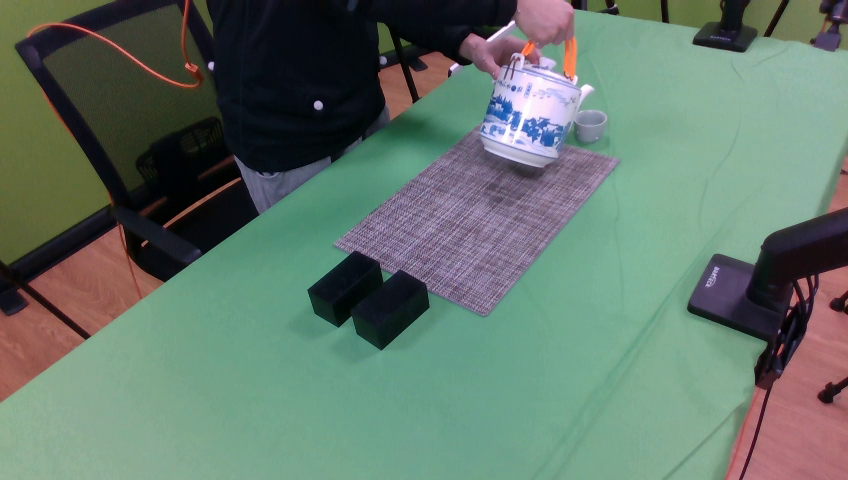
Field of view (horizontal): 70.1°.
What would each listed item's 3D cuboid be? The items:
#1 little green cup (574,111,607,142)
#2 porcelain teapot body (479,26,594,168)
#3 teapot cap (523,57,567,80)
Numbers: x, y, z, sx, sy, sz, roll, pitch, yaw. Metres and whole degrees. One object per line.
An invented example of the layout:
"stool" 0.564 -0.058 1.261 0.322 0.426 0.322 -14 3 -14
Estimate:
"little green cup" 0.318 -0.218 1.164 0.061 0.039 0.061 -3 40 3
"porcelain teapot body" 0.213 -0.245 1.051 0.207 0.225 0.144 5 18 -39
"teapot cap" 0.203 -0.284 1.020 0.085 0.044 0.085 18 14 -4
